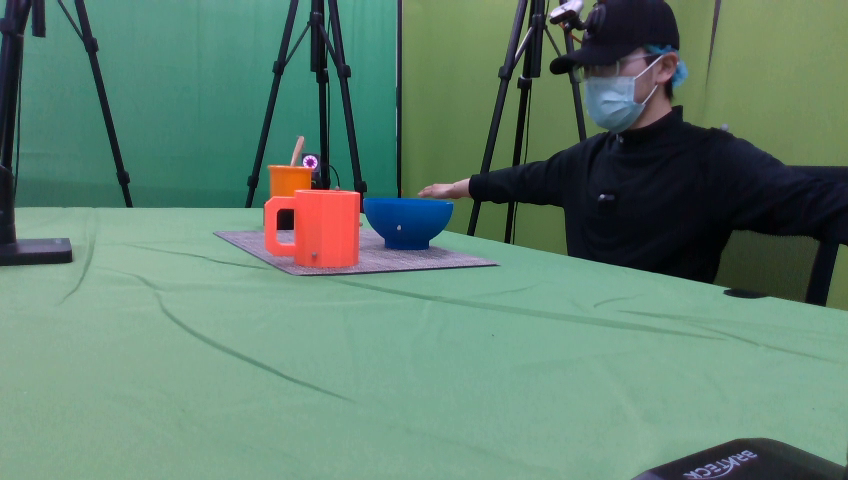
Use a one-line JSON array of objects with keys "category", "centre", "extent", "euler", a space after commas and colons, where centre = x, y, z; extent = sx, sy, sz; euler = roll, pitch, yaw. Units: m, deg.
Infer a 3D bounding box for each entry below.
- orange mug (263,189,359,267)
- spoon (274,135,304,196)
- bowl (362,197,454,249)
[{"category": "orange mug", "centre": [-0.147, -0.019, 0.794], "extent": [0.127, 0.100, 0.083], "euler": [5, 6, -19]}, {"category": "spoon", "centre": [-0.270, -0.153, 1.246], "extent": [0.041, 0.193, 0.022], "euler": [-1, -37, 9]}, {"category": "bowl", "centre": [-0.027, -0.029, 0.991], "extent": [0.151, 0.077, 0.151], "euler": [2, 7, 0]}]
